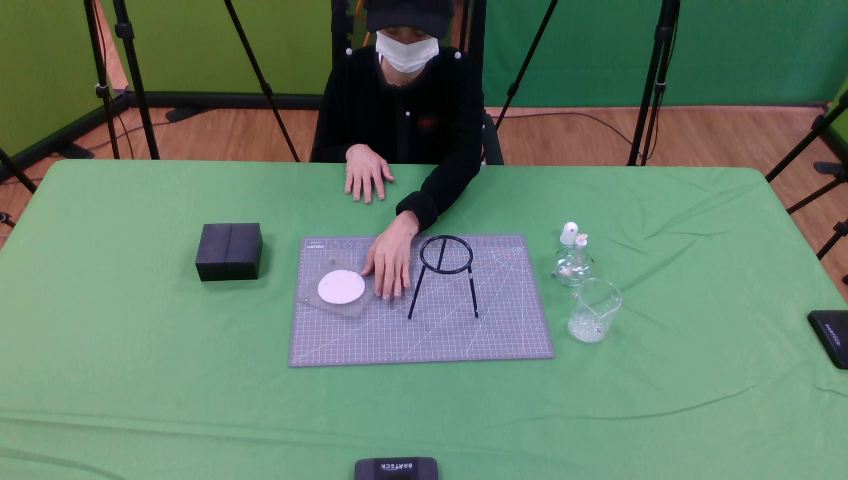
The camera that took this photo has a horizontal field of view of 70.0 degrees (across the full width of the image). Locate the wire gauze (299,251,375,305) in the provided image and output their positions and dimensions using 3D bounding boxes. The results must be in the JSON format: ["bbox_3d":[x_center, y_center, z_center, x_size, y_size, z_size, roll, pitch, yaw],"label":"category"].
[{"bbox_3d":[-0.156,0.068,1.104,0.125,0.011,0.121,-1,46,6],"label":"wire gauze"}]

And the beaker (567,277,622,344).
[{"bbox_3d":[0.291,0.127,1.045,0.074,0.101,0.083,7,46,4],"label":"beaker"}]

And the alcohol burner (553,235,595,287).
[{"bbox_3d":[0.282,0.032,1.127,0.078,0.120,0.077,1,48,-1],"label":"alcohol burner"}]

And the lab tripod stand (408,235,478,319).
[{"bbox_3d":[0.032,0.065,1.057,0.148,0.132,0.147,1,45,-1],"label":"lab tripod stand"}]

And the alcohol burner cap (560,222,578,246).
[{"bbox_3d":[0.295,-0.015,1.223,0.034,0.048,0.033,2,47,-2],"label":"alcohol burner cap"}]
